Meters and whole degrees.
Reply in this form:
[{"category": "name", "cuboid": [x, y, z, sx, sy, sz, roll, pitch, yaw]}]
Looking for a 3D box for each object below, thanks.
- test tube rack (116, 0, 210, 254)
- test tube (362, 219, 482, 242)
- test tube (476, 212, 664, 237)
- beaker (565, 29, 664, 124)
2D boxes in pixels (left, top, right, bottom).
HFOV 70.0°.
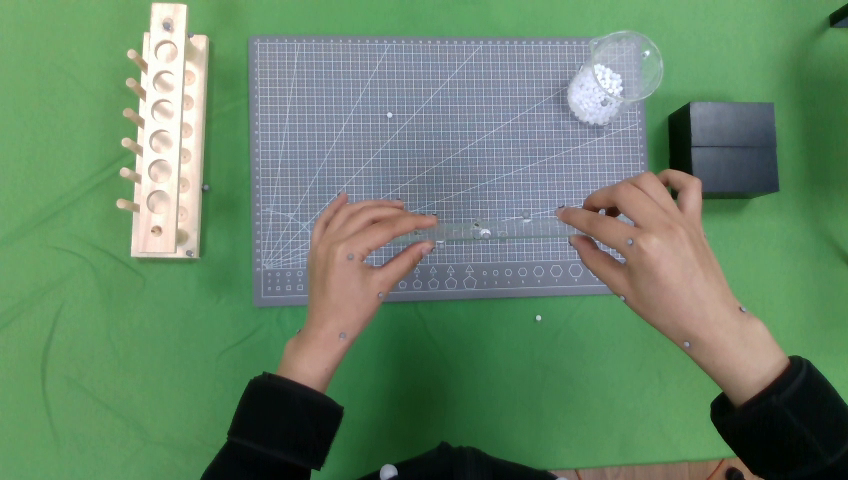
[{"category": "test tube rack", "cuboid": [-0.268, -0.109, 0.615, 0.067, 0.085, 0.242, 2, 86, -5]}, {"category": "test tube", "cuboid": [-0.007, -0.007, 0.544, 0.017, 0.149, 0.017, 1, 88, -43]}, {"category": "test tube", "cuboid": [0.117, -0.013, 0.488, 0.150, 0.017, 0.017, -2, 85, 0]}, {"category": "beaker", "cuboid": [0.198, -0.173, 0.656, 0.084, 0.100, 0.074, 36, 83, 0]}]
